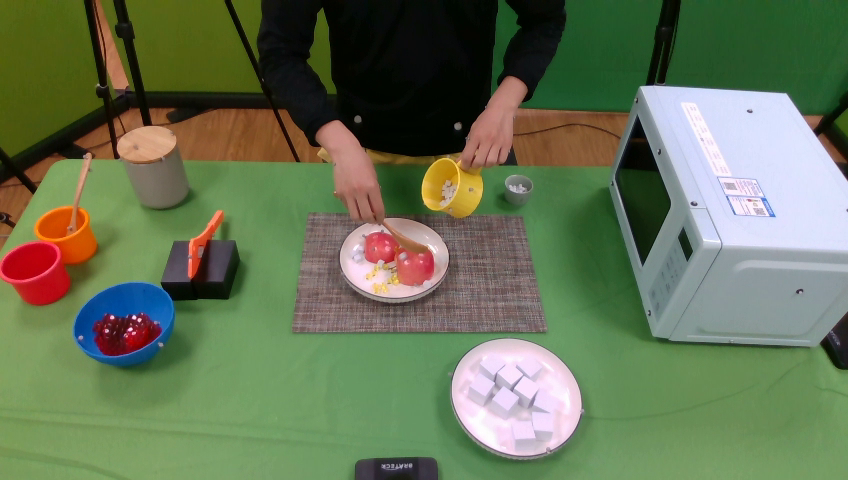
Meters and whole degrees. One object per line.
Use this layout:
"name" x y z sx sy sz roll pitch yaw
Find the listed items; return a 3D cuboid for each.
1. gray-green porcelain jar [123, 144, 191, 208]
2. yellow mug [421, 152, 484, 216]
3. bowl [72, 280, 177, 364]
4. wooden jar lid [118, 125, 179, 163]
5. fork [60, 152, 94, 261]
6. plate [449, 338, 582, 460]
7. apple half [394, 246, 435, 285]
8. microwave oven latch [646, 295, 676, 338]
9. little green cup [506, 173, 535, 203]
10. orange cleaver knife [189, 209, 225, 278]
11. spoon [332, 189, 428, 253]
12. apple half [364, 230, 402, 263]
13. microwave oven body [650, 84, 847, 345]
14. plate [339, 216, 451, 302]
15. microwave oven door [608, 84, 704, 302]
"gray-green porcelain jar" -0.530 -0.137 1.213 0.106 0.127 0.105 2 46 -2
"yellow mug" 0.061 -0.111 1.115 0.064 0.131 0.099 15 34 -43
"bowl" -0.472 0.147 0.982 0.151 0.077 0.150 2 46 -2
"wooden jar lid" -0.528 -0.181 1.167 0.108 0.021 0.107 4 48 -4
"fork" -0.638 -0.063 1.119 0.028 0.018 0.207 12 90 8
"plate" 0.141 0.251 0.955 0.208 0.039 0.206 2 47 -2
"apple half" -0.017 0.037 1.121 0.075 0.053 0.080 1 45 -6
"microwave oven latch" 0.413 0.133 1.060 0.030 0.029 0.078 4 46 1
"little green cup" 0.205 -0.111 1.302 0.061 0.039 0.061 1 45 -1
"orange cleaver knife" -0.400 0.002 1.122 0.012 0.077 0.210 4 23 -4
"spoon" -0.077 -0.032 1.054 0.194 0.041 0.021 36 66 -5
"apple half" -0.079 0.004 1.160 0.081 0.033 0.081 3 49 -3
"microwave oven body" 0.569 -0.054 1.116 0.326 0.261 0.439 2 46 -1
"plate" -0.054 0.038 1.138 0.209 0.038 0.208 2 46 -2
"microwave oven door" 0.424 -0.096 1.138 0.039 0.245 0.353 2 47 -1
